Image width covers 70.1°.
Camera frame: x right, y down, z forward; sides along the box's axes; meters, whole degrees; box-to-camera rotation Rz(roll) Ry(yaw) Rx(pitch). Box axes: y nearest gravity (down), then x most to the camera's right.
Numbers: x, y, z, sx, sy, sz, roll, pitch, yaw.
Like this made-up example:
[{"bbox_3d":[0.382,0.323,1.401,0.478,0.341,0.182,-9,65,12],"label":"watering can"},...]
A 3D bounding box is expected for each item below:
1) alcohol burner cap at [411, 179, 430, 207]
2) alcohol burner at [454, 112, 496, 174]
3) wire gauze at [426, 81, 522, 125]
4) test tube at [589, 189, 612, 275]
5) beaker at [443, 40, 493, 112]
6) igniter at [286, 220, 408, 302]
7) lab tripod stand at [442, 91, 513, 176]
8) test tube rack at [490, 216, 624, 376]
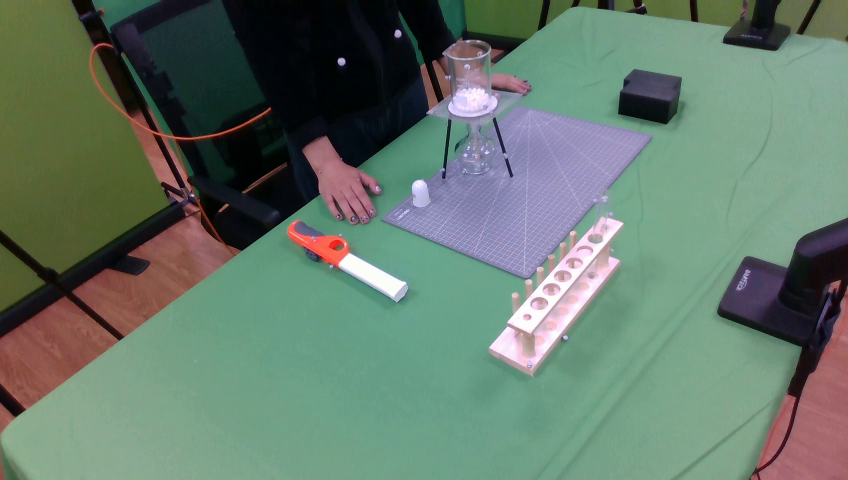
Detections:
[{"bbox_3d":[-0.008,-0.085,1.063,0.034,0.048,0.033,-4,40,4],"label":"alcohol burner cap"},{"bbox_3d":[0.092,-0.181,1.102,0.078,0.119,0.077,-5,42,5],"label":"alcohol burner"},{"bbox_3d":[0.088,-0.237,1.051,0.120,0.011,0.125,23,47,29],"label":"wire gauze"},{"bbox_3d":[0.238,-0.007,0.818,0.017,0.151,0.017,-3,43,4],"label":"test tube"},{"bbox_3d":[0.076,-0.275,1.023,0.083,0.101,0.074,5,41,16],"label":"beaker"},{"bbox_3d":[-0.134,0.028,0.969,0.274,0.025,0.057,26,61,35],"label":"igniter"},{"bbox_3d":[0.096,-0.190,1.096,0.148,0.132,0.147,-4,40,4],"label":"lab tripod stand"},{"bbox_3d":[0.184,0.064,0.822,0.066,0.085,0.243,24,50,33],"label":"test tube rack"}]
